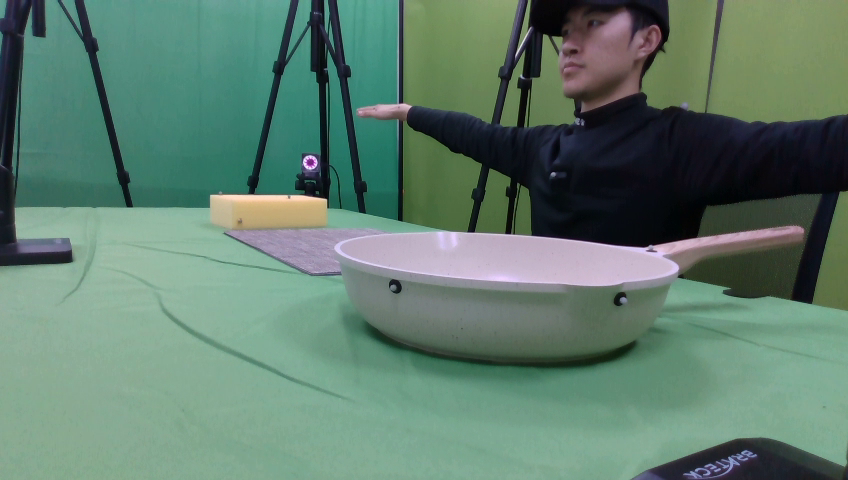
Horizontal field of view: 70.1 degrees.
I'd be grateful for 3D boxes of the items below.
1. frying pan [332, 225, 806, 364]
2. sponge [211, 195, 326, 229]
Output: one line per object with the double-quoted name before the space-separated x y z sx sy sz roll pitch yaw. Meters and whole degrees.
"frying pan" 0.165 0.024 0.562 0.490 0.102 0.305 -8 11 -16
"sponge" -0.320 -0.060 1.254 0.208 0.061 0.117 -3 8 -39
